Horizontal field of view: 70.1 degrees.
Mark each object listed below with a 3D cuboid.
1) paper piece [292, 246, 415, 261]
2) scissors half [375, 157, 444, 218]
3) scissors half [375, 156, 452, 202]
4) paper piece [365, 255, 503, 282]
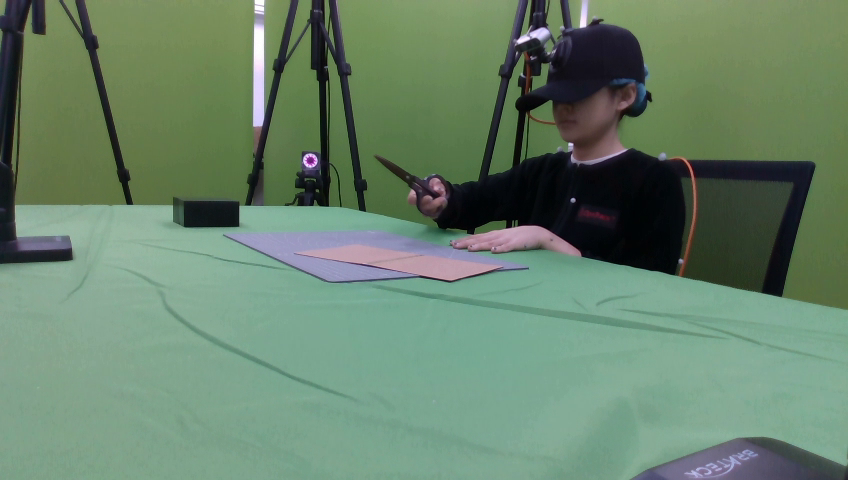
[{"bbox_3d":[-0.095,0.020,0.873,0.137,0.008,0.137,7,4,35],"label":"paper piece"},{"bbox_3d":[-0.024,-0.087,1.009,0.013,0.040,0.176,18,-18,49],"label":"scissors half"},{"bbox_3d":[-0.015,-0.105,1.010,0.176,0.040,0.012,20,4,-41],"label":"scissors half"},{"bbox_3d":[0.014,0.034,0.799,0.135,0.004,0.136,8,10,35],"label":"paper piece"}]
